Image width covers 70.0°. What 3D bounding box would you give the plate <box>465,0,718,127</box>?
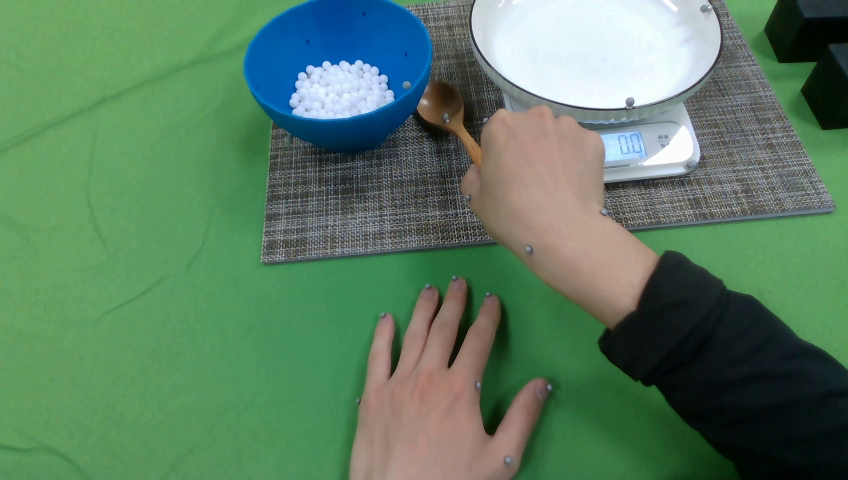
[{"bbox_3d":[0.138,-0.170,0.519,0.209,0.038,0.207,-1,57,2],"label":"plate"}]

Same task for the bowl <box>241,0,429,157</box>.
[{"bbox_3d":[-0.068,-0.124,0.513,0.151,0.077,0.150,-1,57,2],"label":"bowl"}]

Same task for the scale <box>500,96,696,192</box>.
[{"bbox_3d":[0.141,-0.133,0.535,0.149,0.032,0.199,-6,57,0],"label":"scale"}]

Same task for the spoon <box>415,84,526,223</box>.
[{"bbox_3d":[0.034,-0.075,0.487,0.041,0.022,0.191,-25,43,-1],"label":"spoon"}]
